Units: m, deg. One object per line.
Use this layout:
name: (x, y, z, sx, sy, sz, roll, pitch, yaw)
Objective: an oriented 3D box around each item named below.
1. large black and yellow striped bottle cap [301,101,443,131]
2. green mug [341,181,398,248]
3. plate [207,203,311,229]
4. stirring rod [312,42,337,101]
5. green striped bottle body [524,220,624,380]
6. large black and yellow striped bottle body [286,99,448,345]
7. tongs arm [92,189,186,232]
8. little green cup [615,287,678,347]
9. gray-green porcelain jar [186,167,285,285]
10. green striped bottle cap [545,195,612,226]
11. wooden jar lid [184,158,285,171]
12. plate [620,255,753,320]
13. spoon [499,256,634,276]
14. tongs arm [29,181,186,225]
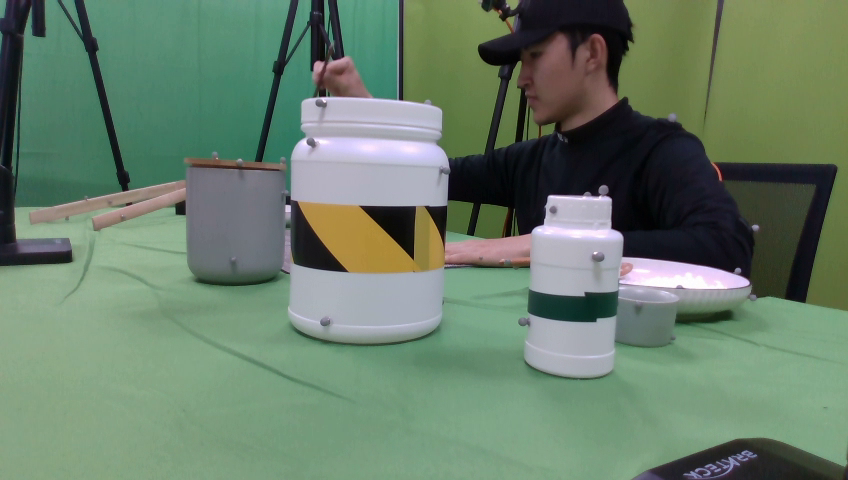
large black and yellow striped bottle cap: (-0.042, -0.100, 0.491, 0.115, 0.019, 0.115, 1, 8, 0)
green mug: (-0.089, -0.044, 0.997, 0.093, 0.105, 0.125, 1, 7, -8)
plate: (-0.342, -0.050, 1.259, 0.208, 0.039, 0.207, 3, 7, 0)
stirring rod: (-0.206, -0.317, 1.208, 0.006, 0.176, 0.014, 27, 35, -4)
green striped bottle body: (0.104, 0.031, 0.422, 0.063, 0.119, 0.063, 2, 8, 0)
large black and yellow striped bottle body: (-0.047, -0.018, 0.501, 0.131, 0.184, 0.130, 2, 7, 0)
tongs arm: (-0.534, -0.076, 1.221, 0.028, 0.028, 0.388, -2, 15, 12)
little green cup: (0.180, 0.064, 0.506, 0.061, 0.038, 0.061, 1, 9, 0)
gray-green porcelain jar: (-0.212, -0.017, 0.682, 0.106, 0.126, 0.106, 2, 7, 0)
green striped bottle cap: (0.106, -0.020, 0.414, 0.044, 0.020, 0.044, 2, 4, 0)
wooden jar lid: (-0.210, -0.078, 0.674, 0.108, 0.020, 0.108, 5, 6, 0)
plate: (0.234, 0.049, 0.651, 0.209, 0.038, 0.209, 2, 7, 0)
spoon: (0.162, 0.027, 0.679, 0.195, 0.021, 0.041, 8, 2, -30)
tongs arm: (-0.609, -0.083, 1.245, 0.050, 0.026, 0.386, 5, 16, 23)
